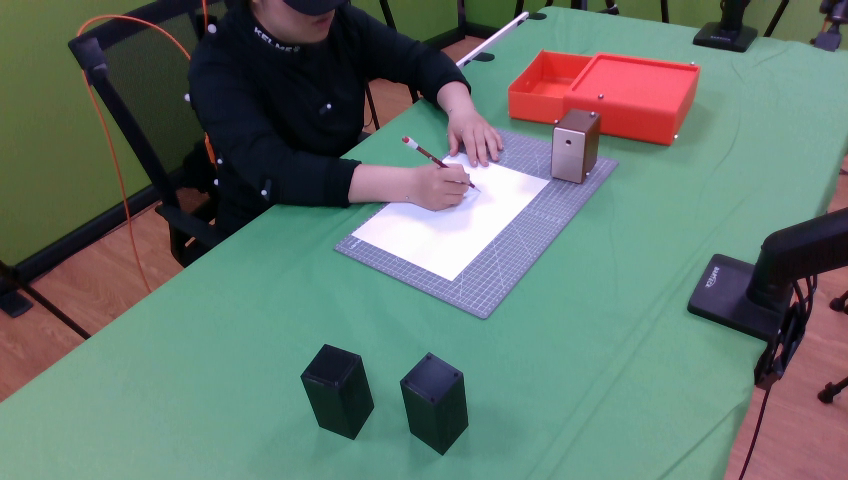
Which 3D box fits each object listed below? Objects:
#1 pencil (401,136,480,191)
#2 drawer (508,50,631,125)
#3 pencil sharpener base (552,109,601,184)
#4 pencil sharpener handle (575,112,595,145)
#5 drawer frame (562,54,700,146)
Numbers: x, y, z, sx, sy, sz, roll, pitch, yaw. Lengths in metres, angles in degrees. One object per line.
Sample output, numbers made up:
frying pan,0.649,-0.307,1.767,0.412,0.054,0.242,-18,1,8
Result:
pencil,0.033,-0.122,1.002,0.012,0.196,0.012,-25,51,36
drawer,0.305,-0.310,1.246,0.210,0.073,0.195,16,45,25
pencil sharpener base,0.265,-0.163,1.053,0.061,0.107,0.077,17,46,27
pencil sharpener handle,0.290,-0.203,1.077,0.036,0.068,0.031,19,47,26
drawer frame,0.407,-0.282,1.195,0.212,0.083,0.202,17,45,25
